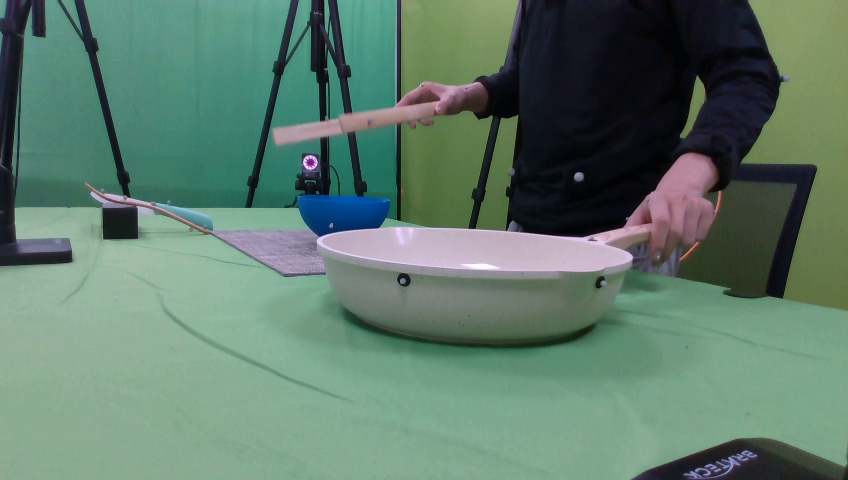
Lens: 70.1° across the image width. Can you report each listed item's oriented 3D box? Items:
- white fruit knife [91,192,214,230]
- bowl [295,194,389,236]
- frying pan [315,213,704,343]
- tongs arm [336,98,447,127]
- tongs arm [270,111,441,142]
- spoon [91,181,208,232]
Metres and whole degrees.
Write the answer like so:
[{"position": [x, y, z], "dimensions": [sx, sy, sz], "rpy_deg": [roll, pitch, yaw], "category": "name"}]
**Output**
[{"position": [-0.477, -0.055, 1.077], "dimensions": [0.208, 0.027, 0.016], "rpy_deg": [15, -5, -30], "category": "white fruit knife"}, {"position": [-0.132, -0.032, 0.980], "dimensions": [0.151, 0.077, 0.151], "rpy_deg": [2, 7, 0], "category": "bowl"}, {"position": [0.133, 0.014, 0.629], "dimensions": [0.490, 0.102, 0.305], "rpy_deg": [-11, 14, -29], "category": "frying pan"}, {"position": [-0.040, -0.220, 1.027], "dimensions": [0.028, 0.028, 0.389], "rpy_deg": [-12, 9, 29], "category": "tongs arm"}, {"position": [-0.102, -0.215, 1.071], "dimensions": [0.050, 0.026, 0.386], "rpy_deg": [-6, 11, 40], "category": "tongs arm"}, {"position": [-0.461, -0.053, 1.023], "dimensions": [0.195, 0.021, 0.041], "rpy_deg": [21, 25, -24], "category": "spoon"}]
